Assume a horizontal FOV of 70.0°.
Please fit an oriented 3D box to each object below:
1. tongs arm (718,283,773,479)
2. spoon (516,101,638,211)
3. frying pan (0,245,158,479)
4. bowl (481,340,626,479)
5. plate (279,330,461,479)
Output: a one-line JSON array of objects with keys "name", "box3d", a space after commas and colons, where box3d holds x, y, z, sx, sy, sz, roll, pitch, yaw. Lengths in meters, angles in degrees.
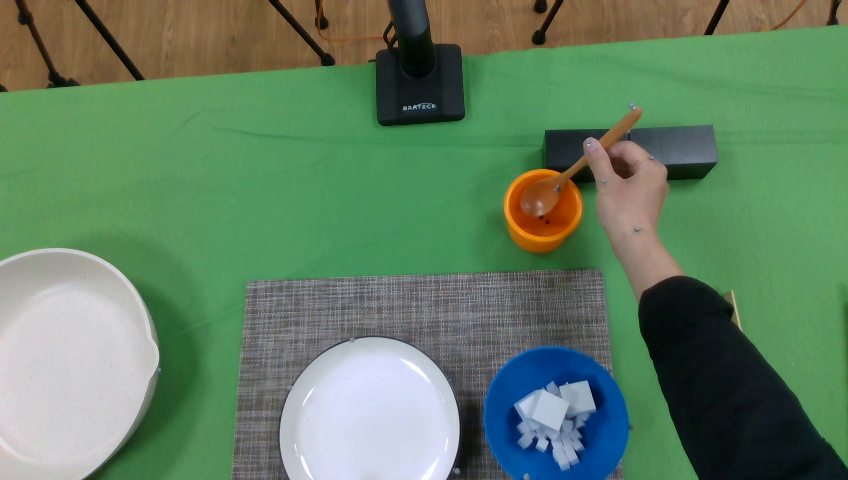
[{"name": "tongs arm", "box3d": [0.381, 0.235, 0.666, 0.028, 0.028, 0.385, -8, 74, 1]}, {"name": "spoon", "box3d": [0.167, -0.089, 0.675, 0.042, 0.194, 0.021, 41, 52, -4]}, {"name": "frying pan", "box3d": [-0.451, 0.247, 0.687, 0.307, 0.103, 0.484, -5, 65, 4]}, {"name": "bowl", "box3d": [0.137, 0.190, 0.666, 0.151, 0.077, 0.150, -1, 73, 4]}, {"name": "plate", "box3d": [-0.060, 0.209, 0.698, 0.207, 0.039, 0.206, -1, 74, 5]}]
